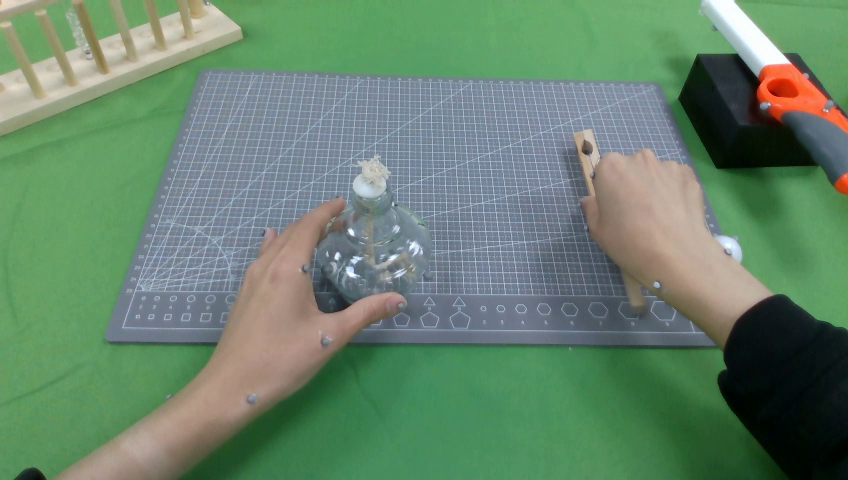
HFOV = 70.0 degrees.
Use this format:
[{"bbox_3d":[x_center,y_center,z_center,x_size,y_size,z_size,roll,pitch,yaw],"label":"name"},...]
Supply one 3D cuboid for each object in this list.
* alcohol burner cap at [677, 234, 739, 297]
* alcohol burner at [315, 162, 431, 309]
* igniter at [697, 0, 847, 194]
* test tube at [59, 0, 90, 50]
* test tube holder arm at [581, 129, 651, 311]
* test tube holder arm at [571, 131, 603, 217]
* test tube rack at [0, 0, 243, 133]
[{"bbox_3d":[0.208,0.016,0.439,0.034,0.048,0.033,2,51,-2],"label":"alcohol burner cap"},{"bbox_3d":[-0.034,-0.007,0.396,0.078,0.120,0.077,1,53,-1],"label":"alcohol burner"},{"bbox_3d":[0.305,-0.139,0.523,0.057,0.025,0.273,-4,49,-4],"label":"igniter"},{"bbox_3d":[-0.312,-0.231,0.515,0.017,0.151,0.017,3,48,-3],"label":"test tube"},{"bbox_3d":[0.148,-0.023,0.479,0.013,0.015,0.176,-19,51,15],"label":"test tube holder arm"},{"bbox_3d":[0.138,-0.057,0.508,0.010,0.015,0.087,-18,52,15],"label":"test tube holder arm"},{"bbox_3d":[-0.295,-0.194,0.551,0.242,0.086,0.066,-33,60,-27],"label":"test tube rack"}]
